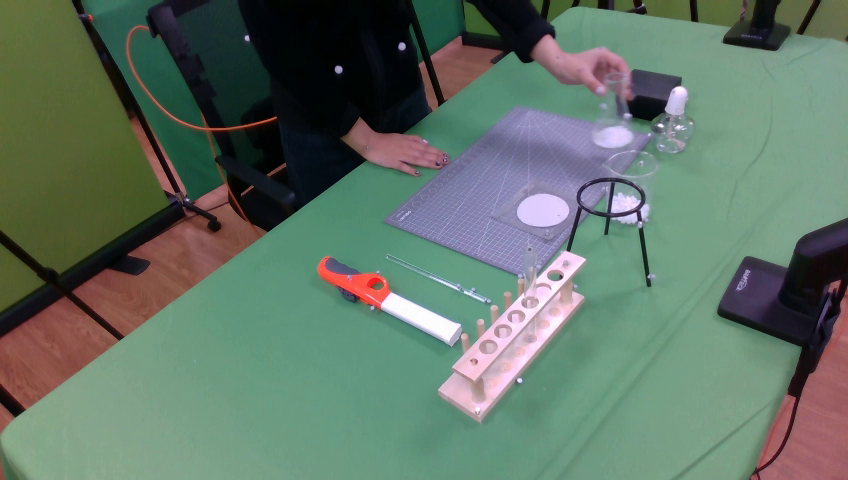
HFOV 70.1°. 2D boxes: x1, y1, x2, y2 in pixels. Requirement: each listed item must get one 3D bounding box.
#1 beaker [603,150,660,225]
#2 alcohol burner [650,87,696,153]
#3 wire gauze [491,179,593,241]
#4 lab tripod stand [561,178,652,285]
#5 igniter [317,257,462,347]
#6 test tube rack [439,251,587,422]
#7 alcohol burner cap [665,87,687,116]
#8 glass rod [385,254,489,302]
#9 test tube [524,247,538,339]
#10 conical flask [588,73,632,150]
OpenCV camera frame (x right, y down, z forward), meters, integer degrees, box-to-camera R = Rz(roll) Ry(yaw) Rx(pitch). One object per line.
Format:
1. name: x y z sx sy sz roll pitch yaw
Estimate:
1. beaker: 0.324 -0.080 0.957 0.083 0.101 0.074 7 42 20
2. alcohol burner: 0.448 -0.217 1.084 0.078 0.119 0.077 -6 38 5
3. wire gauze: 0.198 -0.051 1.014 0.125 0.011 0.120 -38 48 -27
4. lab tripod stand: 0.263 -0.014 0.864 0.148 0.132 0.147 -7 38 6
5. igniter: -0.061 0.086 0.891 0.274 0.025 0.057 23 59 33
6. test tube rack: 0.118 0.111 0.780 0.066 0.085 0.243 26 51 34
7. alcohol burner cap: 0.445 -0.244 1.060 0.034 0.048 0.033 -2 45 3
8. glass rod: 0.016 0.055 0.926 0.198 0.008 0.008 23 50 32
9. test tube: 0.133 0.070 0.749 0.017 0.151 0.017 -5 38 4
10. conical flask: 0.319 -0.222 1.036 0.075 0.122 0.075 -7 38 6
